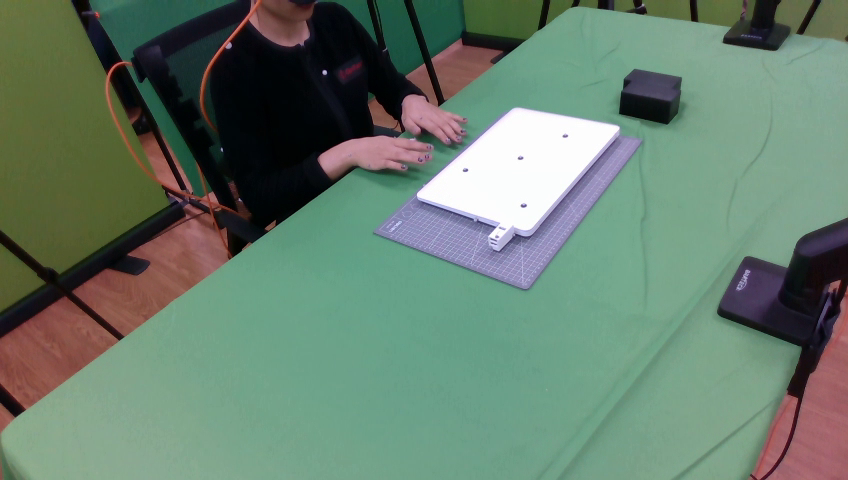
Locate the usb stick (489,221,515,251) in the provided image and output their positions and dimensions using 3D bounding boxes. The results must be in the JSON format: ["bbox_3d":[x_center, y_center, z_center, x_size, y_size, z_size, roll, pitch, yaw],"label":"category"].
[{"bbox_3d":[0.127,-0.011,0.954,0.021,0.027,0.059,22,47,34],"label":"usb stick"}]

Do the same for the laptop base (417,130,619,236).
[{"bbox_3d":[0.180,-0.137,1.112,0.233,0.023,0.355,19,47,33],"label":"laptop base"}]

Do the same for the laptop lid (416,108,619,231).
[{"bbox_3d":[0.177,-0.147,1.106,0.239,0.013,0.357,21,48,34],"label":"laptop lid"}]
